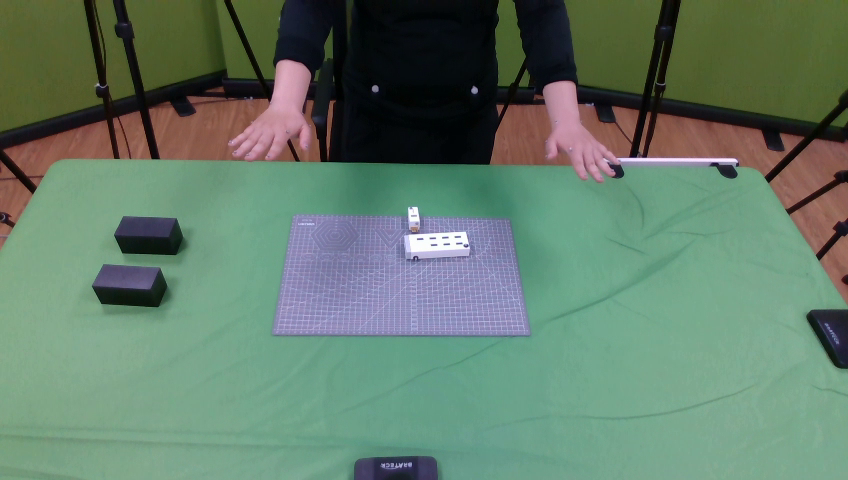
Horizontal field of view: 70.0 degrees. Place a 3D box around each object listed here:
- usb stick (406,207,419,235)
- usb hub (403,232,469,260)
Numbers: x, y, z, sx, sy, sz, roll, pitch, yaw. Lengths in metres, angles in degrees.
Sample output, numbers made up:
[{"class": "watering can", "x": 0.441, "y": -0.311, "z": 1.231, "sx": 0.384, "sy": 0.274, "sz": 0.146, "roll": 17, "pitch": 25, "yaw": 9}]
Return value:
[{"class": "usb stick", "x": -0.023, "y": -0.037, "z": 1.226, "sx": 0.021, "sy": 0.027, "sz": 0.059, "roll": 1, "pitch": 49, "yaw": -9}, {"class": "usb hub", "x": 0.023, "y": 0.012, "z": 1.182, "sx": 0.125, "sy": 0.025, "sz": 0.049, "roll": -3, "pitch": 47, "yaw": -7}]
